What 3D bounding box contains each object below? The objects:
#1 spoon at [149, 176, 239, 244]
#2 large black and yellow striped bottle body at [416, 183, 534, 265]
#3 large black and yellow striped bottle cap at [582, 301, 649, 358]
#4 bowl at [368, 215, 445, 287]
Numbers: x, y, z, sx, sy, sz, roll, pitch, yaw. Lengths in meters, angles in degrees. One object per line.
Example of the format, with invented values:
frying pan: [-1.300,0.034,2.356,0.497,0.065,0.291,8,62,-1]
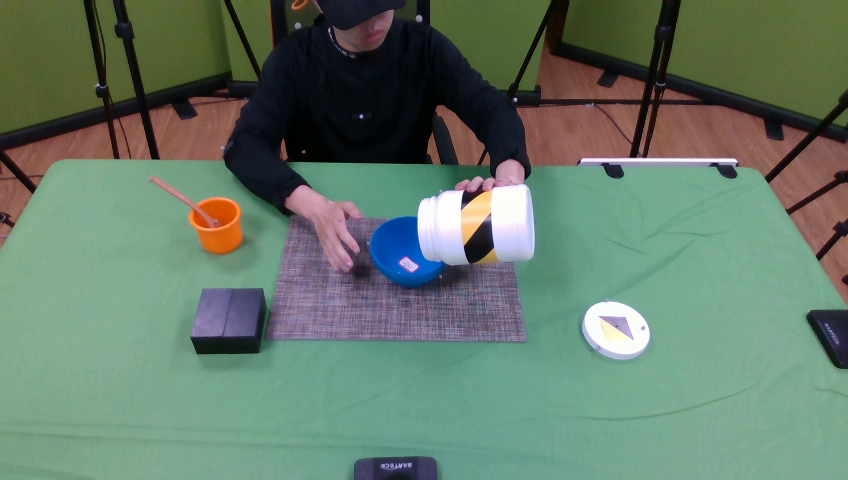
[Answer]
spoon: [-0.427,-0.057,1.132,0.021,0.195,0.041,-28,31,33]
large black and yellow striped bottle body: [0.088,-0.025,1.028,0.184,0.131,0.130,-4,44,15]
large black and yellow striped bottle cap: [0.340,0.157,1.077,0.115,0.019,0.114,1,47,-1]
bowl: [-0.028,0.033,1.120,0.151,0.077,0.150,2,46,-2]
